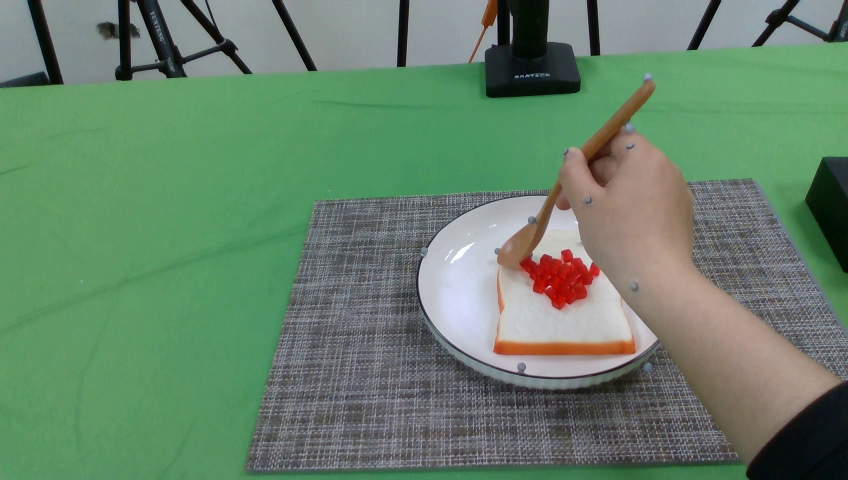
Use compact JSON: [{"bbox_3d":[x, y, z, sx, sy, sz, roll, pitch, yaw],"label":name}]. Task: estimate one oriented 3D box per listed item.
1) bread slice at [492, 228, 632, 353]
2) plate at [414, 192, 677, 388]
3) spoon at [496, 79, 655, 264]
[{"bbox_3d":[0.109,0.038,0.504,0.105,0.019,0.130,0,43,6],"label":"bread slice"},{"bbox_3d":[0.096,0.038,0.503,0.209,0.038,0.207,-3,43,4],"label":"plate"},{"bbox_3d":[0.103,-0.042,0.445,0.021,0.194,0.041,26,47,-3],"label":"spoon"}]
